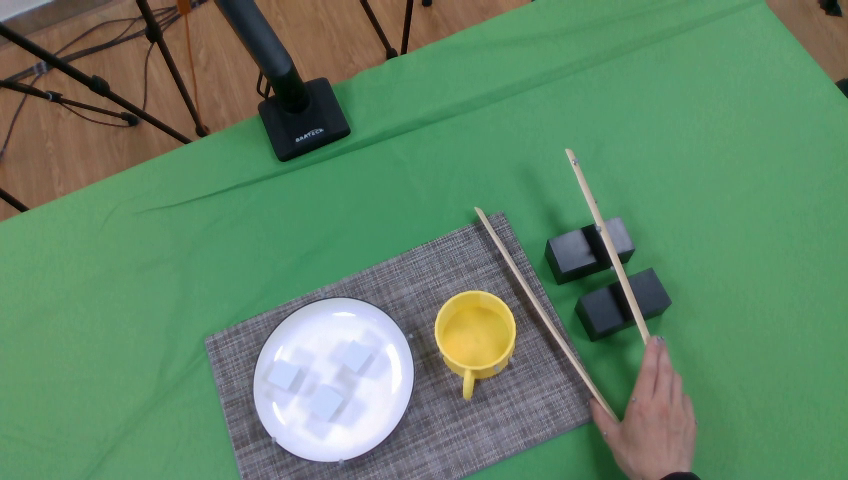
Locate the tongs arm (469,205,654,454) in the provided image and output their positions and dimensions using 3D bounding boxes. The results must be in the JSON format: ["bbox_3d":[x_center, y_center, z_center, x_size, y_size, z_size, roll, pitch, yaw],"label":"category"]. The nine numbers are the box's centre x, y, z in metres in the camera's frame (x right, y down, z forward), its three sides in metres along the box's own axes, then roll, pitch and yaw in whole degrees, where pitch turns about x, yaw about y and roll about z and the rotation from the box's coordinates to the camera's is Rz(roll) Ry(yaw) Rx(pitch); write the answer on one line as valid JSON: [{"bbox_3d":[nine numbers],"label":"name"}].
[{"bbox_3d":[0.163,0.102,0.776,0.028,0.028,0.384,-37,67,14],"label":"tongs arm"}]

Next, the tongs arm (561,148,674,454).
[{"bbox_3d":[0.226,0.063,0.746,0.050,0.027,0.382,-26,72,22],"label":"tongs arm"}]

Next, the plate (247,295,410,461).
[{"bbox_3d":[-0.119,0.175,0.776,0.207,0.039,0.206,-2,68,5],"label":"plate"}]

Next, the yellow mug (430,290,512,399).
[{"bbox_3d":[0.058,0.133,0.758,0.100,0.064,0.130,7,69,8],"label":"yellow mug"}]
